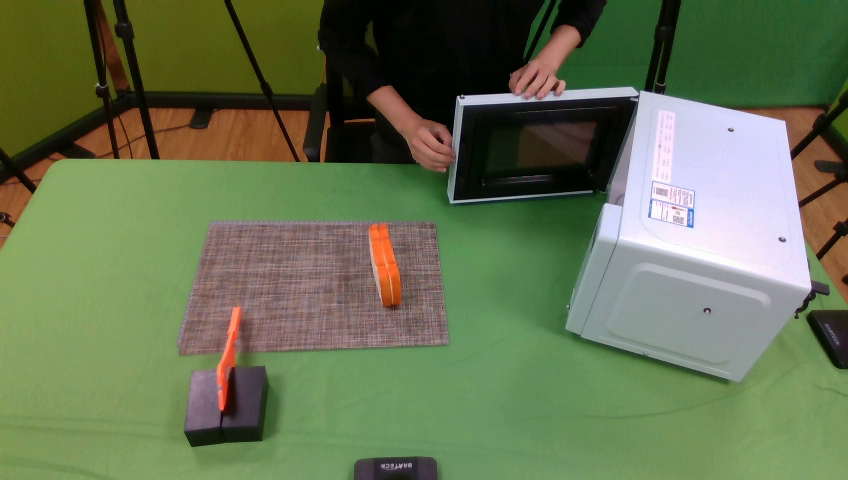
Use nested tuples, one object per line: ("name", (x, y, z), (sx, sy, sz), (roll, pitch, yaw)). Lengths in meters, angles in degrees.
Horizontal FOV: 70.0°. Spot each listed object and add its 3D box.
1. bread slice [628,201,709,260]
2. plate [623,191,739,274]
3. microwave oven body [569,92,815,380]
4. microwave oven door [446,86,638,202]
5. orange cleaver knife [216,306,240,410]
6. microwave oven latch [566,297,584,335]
("bread slice", (0.473, -0.024, 1.162), (0.134, 0.018, 0.106), (-25, 54, -17))
("plate", (0.478, -0.011, 1.142), (0.208, 0.039, 0.206), (1, 46, -1))
("microwave oven body", (0.468, -0.021, 1.082), (0.325, 0.261, 0.440), (15, 46, 11))
("microwave oven door", (0.230, -0.190, 1.220), (0.356, 0.245, 0.039), (-5, 47, -9))
("orange cleaver knife", (-0.307, 0.180, 0.957), (0.012, 0.077, 0.210), (-2, 25, -8))
("microwave oven latch", (0.268, 0.126, 1.059), (0.030, 0.029, 0.079), (16, 46, 12))
